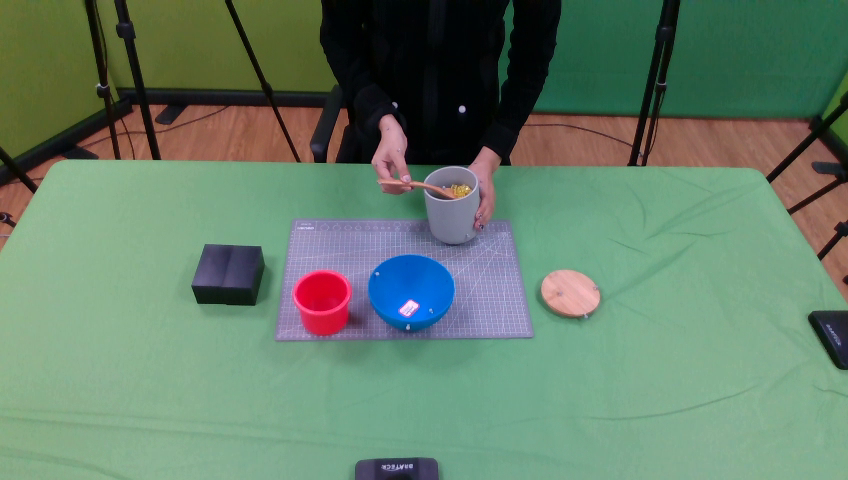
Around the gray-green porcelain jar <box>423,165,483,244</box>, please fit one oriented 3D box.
[{"bbox_3d":[0.059,-0.064,1.180,0.106,0.127,0.105,-5,45,6],"label":"gray-green porcelain jar"}]

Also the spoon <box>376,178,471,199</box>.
[{"bbox_3d":[0.002,-0.100,1.134,0.194,0.022,0.041,9,36,-27],"label":"spoon"}]

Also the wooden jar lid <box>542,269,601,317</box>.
[{"bbox_3d":[0.272,0.100,1.121,0.108,0.021,0.107,3,47,-3],"label":"wooden jar lid"}]

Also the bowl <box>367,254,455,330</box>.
[{"bbox_3d":[-0.024,0.104,1.053,0.151,0.077,0.150,2,46,-2],"label":"bowl"}]
